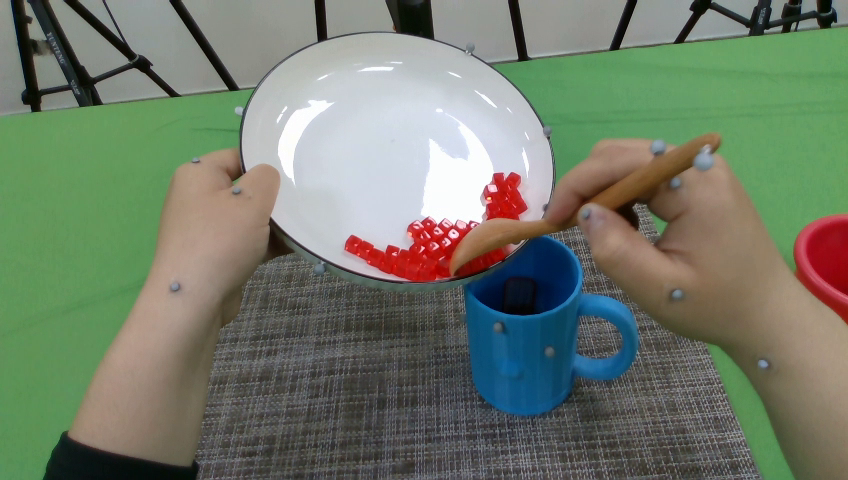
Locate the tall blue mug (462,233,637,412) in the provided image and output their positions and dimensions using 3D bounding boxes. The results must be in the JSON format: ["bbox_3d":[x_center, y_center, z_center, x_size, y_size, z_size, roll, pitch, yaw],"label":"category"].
[{"bbox_3d":[0.083,0.055,0.418,0.107,0.109,0.077,-10,43,-1],"label":"tall blue mug"}]

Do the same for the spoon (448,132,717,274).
[{"bbox_3d":[0.063,-0.012,0.297,0.041,0.022,0.193,-42,10,-29],"label":"spoon"}]

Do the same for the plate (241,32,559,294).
[{"bbox_3d":[-0.014,-0.054,0.409,0.208,0.039,0.206,5,60,-8],"label":"plate"}]
